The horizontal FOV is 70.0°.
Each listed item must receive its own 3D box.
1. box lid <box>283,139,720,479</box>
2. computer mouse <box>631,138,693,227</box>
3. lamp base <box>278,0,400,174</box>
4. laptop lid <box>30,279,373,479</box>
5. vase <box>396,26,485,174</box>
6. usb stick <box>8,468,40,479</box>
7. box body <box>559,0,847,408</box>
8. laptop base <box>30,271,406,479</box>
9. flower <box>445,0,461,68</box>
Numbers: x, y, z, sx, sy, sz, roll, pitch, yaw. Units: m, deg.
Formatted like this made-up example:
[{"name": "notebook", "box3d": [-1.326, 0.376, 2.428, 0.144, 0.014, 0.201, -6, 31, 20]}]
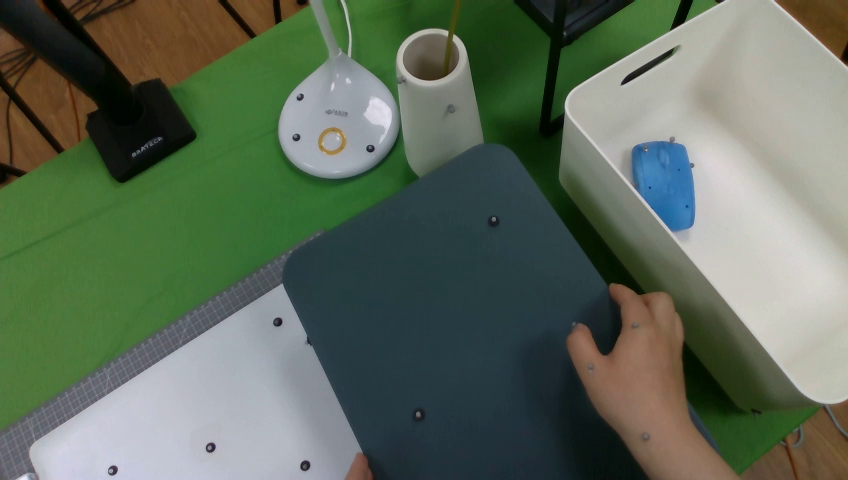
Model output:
[{"name": "box lid", "box3d": [0.050, 0.101, 0.544, 0.263, 0.015, 0.368, -30, 71, -1]}, {"name": "computer mouse", "box3d": [0.277, -0.071, 0.705, 0.062, 0.041, 0.116, 2, 65, 10]}, {"name": "lamp base", "box3d": [-0.118, -0.198, 0.722, 0.160, 0.181, 0.178, -2, 66, 5]}, {"name": "laptop lid", "box3d": [-0.223, 0.216, 0.646, 0.357, 0.013, 0.240, -32, 72, -7]}, {"name": "vase", "box3d": [0.017, -0.146, 0.679, 0.098, 0.201, 0.097, -3, 68, 7]}, {"name": "usb stick", "box3d": [-0.426, 0.261, 0.646, 0.059, 0.027, 0.021, -30, 69, -12]}, {"name": "box body", "box3d": [0.337, -0.039, 0.626, 0.254, 0.161, 0.361, -31, 69, -6]}, {"name": "laptop base", "box3d": [-0.224, 0.218, 0.656, 0.354, 0.023, 0.234, -33, 74, -8]}, {"name": "flower", "box3d": [0.026, -0.186, 0.605, 0.038, 0.364, 0.043, -18, 58, -20]}]
